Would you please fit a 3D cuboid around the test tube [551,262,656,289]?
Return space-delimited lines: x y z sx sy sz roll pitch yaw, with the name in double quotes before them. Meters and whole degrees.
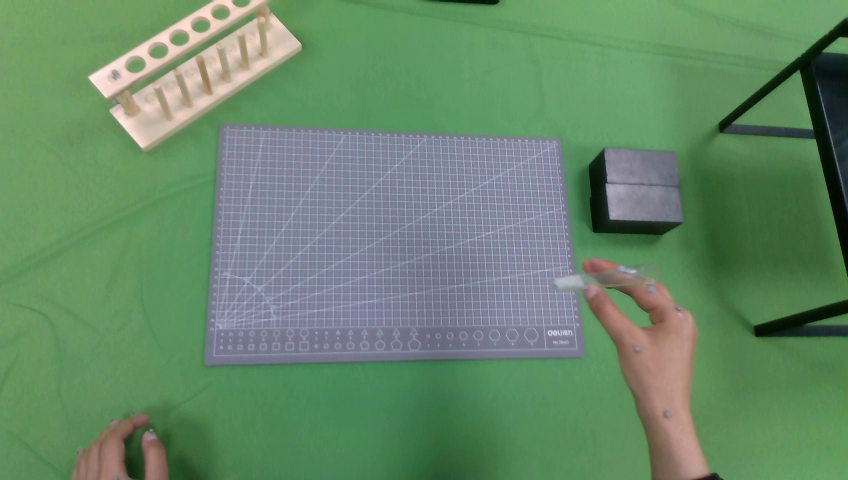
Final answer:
"test tube" 0.151 0.032 0.531 0.017 0.150 0.017 2 83 -15

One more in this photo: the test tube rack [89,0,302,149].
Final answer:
"test tube rack" -0.266 -0.220 0.738 0.242 0.085 0.066 -40 82 -18
